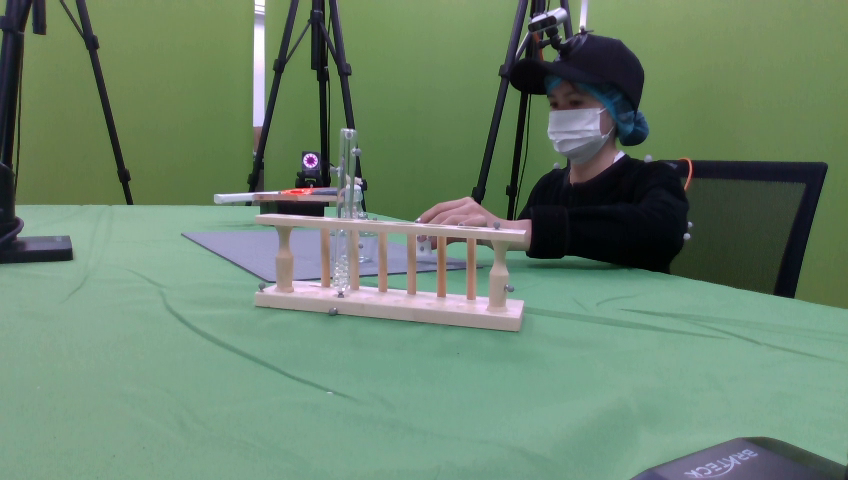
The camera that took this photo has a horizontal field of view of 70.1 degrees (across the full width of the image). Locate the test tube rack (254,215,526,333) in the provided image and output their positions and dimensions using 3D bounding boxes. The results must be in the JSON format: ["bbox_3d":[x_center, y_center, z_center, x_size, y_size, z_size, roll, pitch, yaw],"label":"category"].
[{"bbox_3d":[-0.030,0.025,0.558,0.242,0.085,0.067,4,7,12],"label":"test tube rack"}]

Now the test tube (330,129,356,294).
[{"bbox_3d":[-0.074,-0.025,0.548,0.017,0.150,0.017,4,6,0],"label":"test tube"}]

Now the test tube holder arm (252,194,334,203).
[{"bbox_3d":[-0.262,-0.085,1.228,0.179,0.015,0.013,-5,11,-40],"label":"test tube holder arm"}]

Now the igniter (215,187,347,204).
[{"bbox_3d":[-0.289,-0.093,1.255,0.278,0.025,0.057,-6,11,-35],"label":"igniter"}]

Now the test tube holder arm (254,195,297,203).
[{"bbox_3d":[-0.294,-0.081,1.195,0.088,0.015,0.010,-5,11,-38],"label":"test tube holder arm"}]

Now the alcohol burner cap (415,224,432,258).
[{"bbox_3d":[-0.005,0.001,0.835,0.034,0.048,0.034,1,8,0],"label":"alcohol burner cap"}]

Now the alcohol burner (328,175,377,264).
[{"bbox_3d":[-0.098,-0.028,0.819,0.078,0.119,0.078,1,8,0],"label":"alcohol burner"}]
